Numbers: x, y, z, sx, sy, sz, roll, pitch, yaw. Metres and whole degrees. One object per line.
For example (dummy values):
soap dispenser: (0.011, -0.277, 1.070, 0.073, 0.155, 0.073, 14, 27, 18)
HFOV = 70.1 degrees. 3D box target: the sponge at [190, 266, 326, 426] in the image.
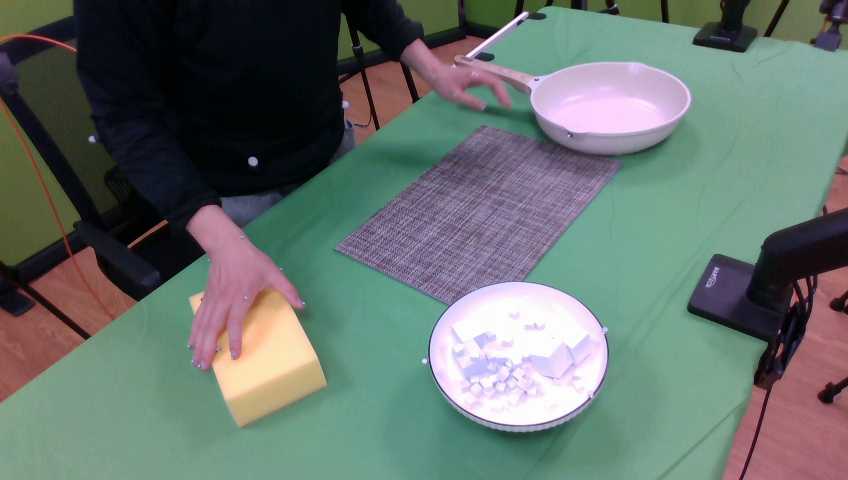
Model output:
sponge: (-0.228, 0.134, 0.816, 0.119, 0.061, 0.205, -23, 43, -19)

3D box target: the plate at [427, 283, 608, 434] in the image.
plate: (0.108, 0.137, 0.708, 0.207, 0.039, 0.206, -4, 42, 4)

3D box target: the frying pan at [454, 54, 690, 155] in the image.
frying pan: (0.270, -0.298, 1.211, 0.485, 0.103, 0.307, 27, 49, 23)
